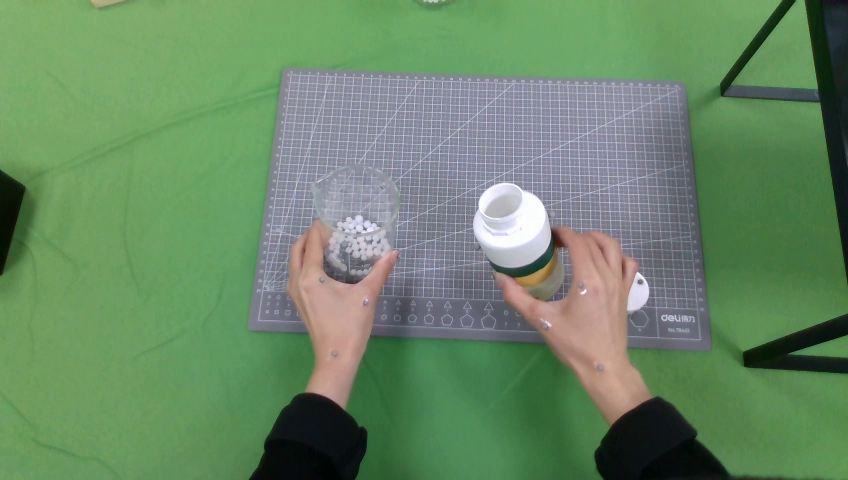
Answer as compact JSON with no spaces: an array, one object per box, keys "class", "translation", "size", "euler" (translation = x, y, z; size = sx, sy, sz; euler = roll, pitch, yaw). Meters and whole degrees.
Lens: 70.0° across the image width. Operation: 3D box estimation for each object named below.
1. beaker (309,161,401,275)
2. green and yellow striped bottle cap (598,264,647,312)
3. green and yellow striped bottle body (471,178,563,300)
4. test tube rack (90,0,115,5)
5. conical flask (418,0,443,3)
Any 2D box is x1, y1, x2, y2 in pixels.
[{"class":"beaker","translation":[-0.066,-0.017,0.570],"size":[0.084,0.101,0.073],"euler":[20,62,4]},{"class":"green and yellow striped bottle cap","translation":[0.195,0.047,0.596],"size":[0.045,0.020,0.045],"euler":[0,69,0]},{"class":"green and yellow striped bottle body","translation":[0.080,-0.002,0.530],"size":[0.063,0.121,0.062],"euler":[-12,53,16]},{"class":"test tube rack","translation":[-0.287,-0.356,0.697],"size":[0.242,0.085,0.066],"euler":[-18,72,-6]},{"class":"conical flask","translation":[0.007,-0.330,0.667],"size":[0.075,0.122,0.075],"euler":[0,71,1]}]
